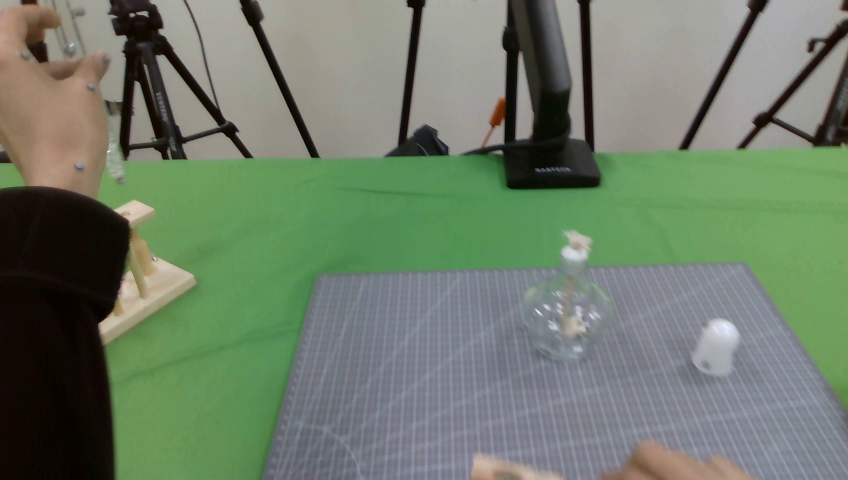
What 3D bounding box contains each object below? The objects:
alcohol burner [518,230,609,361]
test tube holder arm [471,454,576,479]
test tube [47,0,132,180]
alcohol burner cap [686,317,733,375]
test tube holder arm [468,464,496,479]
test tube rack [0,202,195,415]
[{"bbox_3d":[0.120,0.044,0.517,0.078,0.120,0.077,-2,33,2],"label":"alcohol burner"},{"bbox_3d":[0.113,0.150,0.341,0.178,0.015,0.013,9,46,13],"label":"test tube holder arm"},{"bbox_3d":[-0.232,-0.104,0.425,0.017,0.151,0.017,2,43,-2],"label":"test tube"},{"bbox_3d":[0.243,0.087,0.510,0.034,0.048,0.033,-2,35,2],"label":"alcohol burner cap"},{"bbox_3d":[0.068,0.146,0.347,0.087,0.015,0.010,10,46,13],"label":"test tube holder arm"},{"bbox_3d":[-0.338,0.063,0.550,0.066,0.086,0.242,20,41,28],"label":"test tube rack"}]
